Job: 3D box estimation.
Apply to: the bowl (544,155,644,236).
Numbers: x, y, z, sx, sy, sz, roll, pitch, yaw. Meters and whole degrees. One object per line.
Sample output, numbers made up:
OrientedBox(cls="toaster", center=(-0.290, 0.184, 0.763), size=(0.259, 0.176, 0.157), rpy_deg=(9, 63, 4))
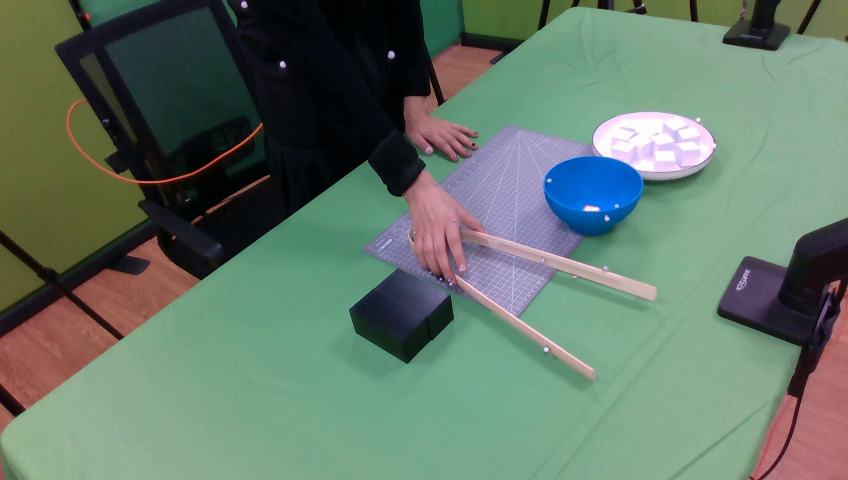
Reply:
OrientedBox(cls="bowl", center=(0.266, -0.061, 0.957), size=(0.151, 0.077, 0.150), rpy_deg=(-5, 40, 5))

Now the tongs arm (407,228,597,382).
OrientedBox(cls="tongs arm", center=(0.092, 0.081, 0.862), size=(0.028, 0.028, 0.384), rpy_deg=(-38, 48, -20))

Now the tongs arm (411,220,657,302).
OrientedBox(cls="tongs arm", center=(0.149, 0.031, 0.906), size=(0.382, 0.026, 0.051), rpy_deg=(20, 52, 30))

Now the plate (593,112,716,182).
OrientedBox(cls="plate", center=(0.408, -0.163, 1.084), size=(0.207, 0.039, 0.206), rpy_deg=(-4, 40, 4))
